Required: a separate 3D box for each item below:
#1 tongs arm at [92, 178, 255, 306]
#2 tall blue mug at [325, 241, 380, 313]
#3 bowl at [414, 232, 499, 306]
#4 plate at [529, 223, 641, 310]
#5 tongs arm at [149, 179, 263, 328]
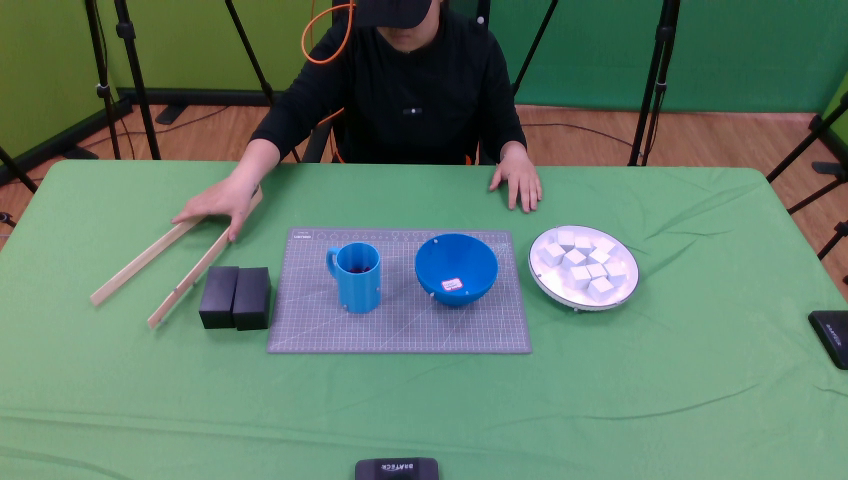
[{"bbox_3d":[-0.471,-0.008,1.169,0.028,0.028,0.386,18,47,27],"label":"tongs arm"},{"bbox_3d":[-0.130,0.063,1.062,0.107,0.108,0.077,9,47,5],"label":"tall blue mug"},{"bbox_3d":[0.056,0.066,1.095,0.151,0.077,0.150,2,46,-2],"label":"bowl"},{"bbox_3d":[0.303,0.053,1.156,0.209,0.038,0.208,2,46,-1],"label":"plate"},{"bbox_3d":[-0.407,0.011,1.147,0.050,0.027,0.383,13,46,18],"label":"tongs arm"}]
